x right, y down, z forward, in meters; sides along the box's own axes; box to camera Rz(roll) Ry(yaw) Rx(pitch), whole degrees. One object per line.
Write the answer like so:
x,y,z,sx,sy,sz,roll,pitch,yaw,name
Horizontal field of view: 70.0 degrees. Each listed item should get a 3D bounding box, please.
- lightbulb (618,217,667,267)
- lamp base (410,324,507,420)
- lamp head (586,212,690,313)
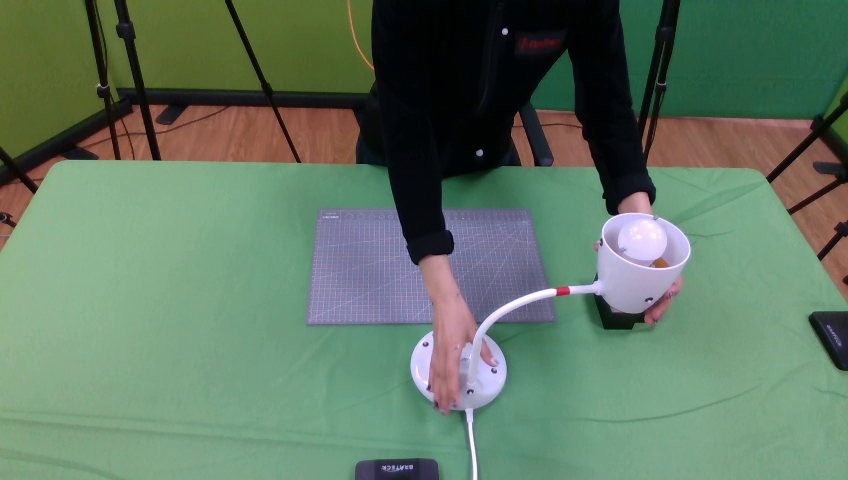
0.286,0.019,0.806,0.059,0.108,0.059,0,37,1,lightbulb
0.064,0.163,0.938,0.161,0.181,0.178,-9,50,-13,lamp base
0.280,0.041,0.817,0.112,0.123,0.111,6,40,-5,lamp head
